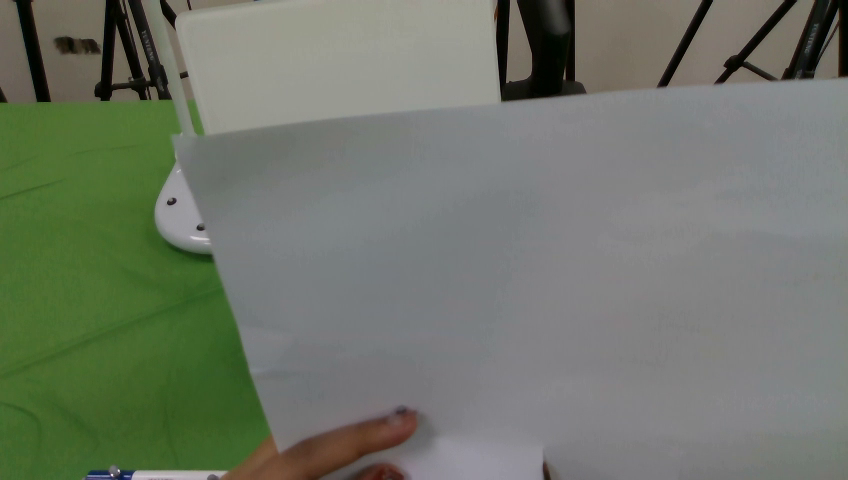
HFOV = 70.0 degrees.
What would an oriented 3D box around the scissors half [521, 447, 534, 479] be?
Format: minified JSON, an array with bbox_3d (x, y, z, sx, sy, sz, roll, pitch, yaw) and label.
[{"bbox_3d":[0.071,0.176,0.264,0.013,0.040,0.174,-17,81,-4],"label":"scissors half"}]

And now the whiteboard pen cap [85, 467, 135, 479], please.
[{"bbox_3d":[-0.220,0.170,0.430,0.033,0.018,0.018,-1,40,-3],"label":"whiteboard pen cap"}]

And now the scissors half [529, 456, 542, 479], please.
[{"bbox_3d":[0.069,0.176,0.285,0.013,0.176,0.040,-18,17,-9],"label":"scissors half"}]

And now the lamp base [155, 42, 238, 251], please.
[{"bbox_3d":[-0.228,-0.106,0.637,0.177,0.182,0.160,27,48,32],"label":"lamp base"}]

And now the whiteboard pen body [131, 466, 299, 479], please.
[{"bbox_3d":[-0.161,0.170,0.432,0.141,0.017,0.017,1,40,-2],"label":"whiteboard pen body"}]

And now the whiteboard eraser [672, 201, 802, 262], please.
[{"bbox_3d":[0.319,-0.008,0.621,0.113,0.042,0.055,-7,42,-7],"label":"whiteboard eraser"}]

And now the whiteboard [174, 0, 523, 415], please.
[{"bbox_3d":[-0.055,-0.048,0.517,0.218,0.307,0.142,-15,23,-15],"label":"whiteboard"}]
